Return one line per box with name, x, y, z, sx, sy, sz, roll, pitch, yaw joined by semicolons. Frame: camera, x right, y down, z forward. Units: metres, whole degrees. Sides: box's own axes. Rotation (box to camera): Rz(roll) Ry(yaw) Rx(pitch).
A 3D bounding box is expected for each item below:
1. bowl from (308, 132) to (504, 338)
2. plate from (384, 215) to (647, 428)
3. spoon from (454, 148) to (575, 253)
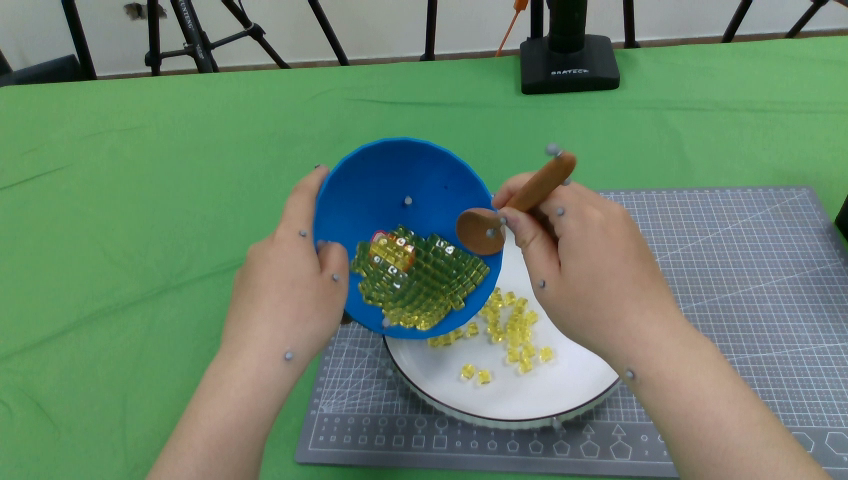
bowl;-0.022;0.001;0.469;0.152;0.076;0.151;5;79;-23
plate;0.071;0.062;0.496;0.207;0.039;0.205;-4;45;5
spoon;0.053;-0.019;0.384;0.041;0.194;0.021;40;78;-1
